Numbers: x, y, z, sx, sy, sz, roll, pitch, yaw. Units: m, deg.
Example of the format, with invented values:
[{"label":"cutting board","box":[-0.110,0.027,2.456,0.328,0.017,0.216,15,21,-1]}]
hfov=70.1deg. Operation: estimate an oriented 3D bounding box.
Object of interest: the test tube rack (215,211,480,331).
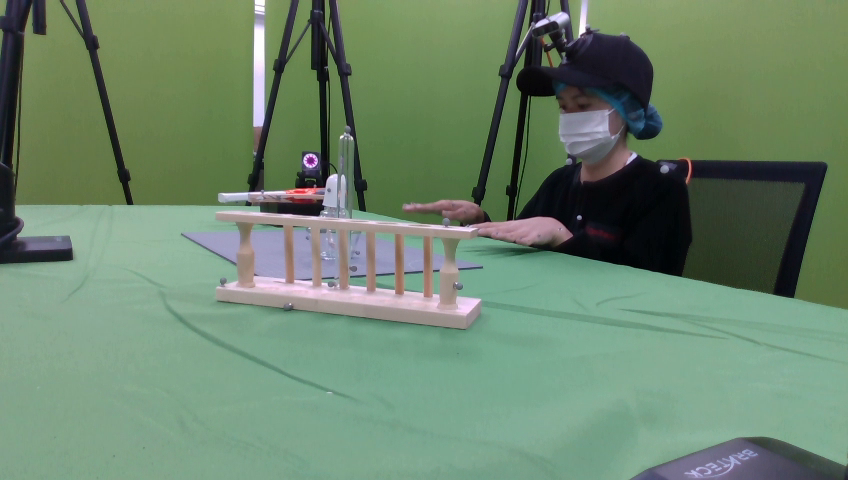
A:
[{"label":"test tube rack","box":[-0.071,0.023,0.565,0.242,0.085,0.067,5,7,16]}]

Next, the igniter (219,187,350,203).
[{"label":"igniter","box":[-0.285,-0.095,1.268,0.278,0.025,0.057,-6,11,-34]}]

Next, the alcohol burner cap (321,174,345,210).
[{"label":"alcohol burner cap","box":[-0.124,-0.067,0.833,0.034,0.048,0.034,7,7,-1]}]

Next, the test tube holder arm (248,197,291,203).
[{"label":"test tube holder arm","box":[-0.303,-0.080,1.191,0.088,0.010,0.015,-7,18,-39]}]

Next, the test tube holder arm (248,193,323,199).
[{"label":"test tube holder arm","box":[-0.268,-0.089,1.218,0.179,0.013,0.015,-6,18,-40]}]

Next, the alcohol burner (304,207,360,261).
[{"label":"alcohol burner","box":[-0.126,-0.031,0.838,0.078,0.119,0.078,3,5,0]}]

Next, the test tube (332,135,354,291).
[{"label":"test tube","box":[-0.078,-0.025,0.581,0.017,0.150,0.017,3,7,0]}]
